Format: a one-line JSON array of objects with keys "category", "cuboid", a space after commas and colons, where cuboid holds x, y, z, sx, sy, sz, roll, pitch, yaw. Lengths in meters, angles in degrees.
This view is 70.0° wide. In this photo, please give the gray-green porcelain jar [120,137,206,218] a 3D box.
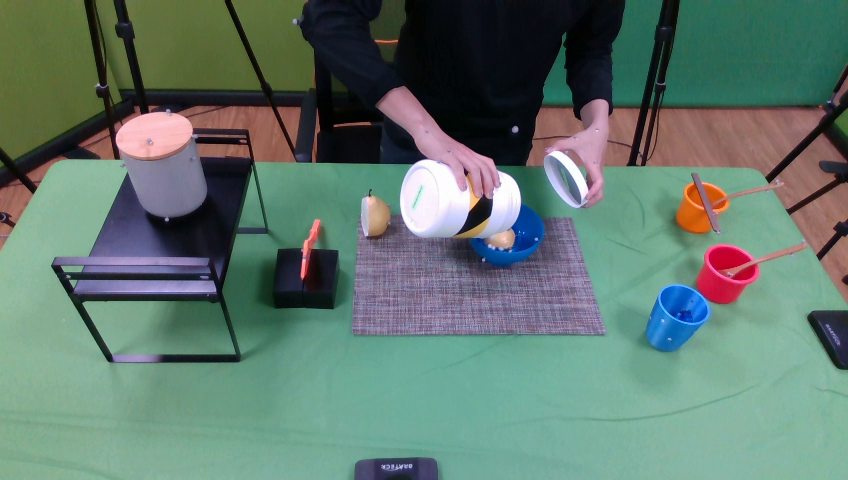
[{"category": "gray-green porcelain jar", "cuboid": [-0.403, -0.106, 0.946, 0.106, 0.127, 0.105, 3, 46, -2]}]

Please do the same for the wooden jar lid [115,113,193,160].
[{"category": "wooden jar lid", "cuboid": [-0.399, -0.151, 0.900, 0.108, 0.021, 0.107, 3, 46, -3]}]

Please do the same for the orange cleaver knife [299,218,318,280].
[{"category": "orange cleaver knife", "cuboid": [-0.214, 0.013, 1.125, 0.012, 0.077, 0.210, 6, 17, -5]}]

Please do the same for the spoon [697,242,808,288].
[{"category": "spoon", "cuboid": [0.601, 0.044, 1.116, 0.194, 0.022, 0.041, -29, 34, 30]}]

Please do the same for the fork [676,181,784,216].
[{"category": "fork", "cuboid": [0.618, -0.083, 1.235, 0.207, 0.019, 0.028, -23, 21, 38]}]

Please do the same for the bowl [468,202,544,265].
[{"category": "bowl", "cuboid": [0.150, -0.004, 1.167, 0.151, 0.077, 0.150, 2, 46, -2]}]

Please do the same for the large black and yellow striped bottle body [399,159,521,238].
[{"category": "large black and yellow striped bottle body", "cuboid": [0.065, -0.069, 1.047, 0.184, 0.131, 0.130, 0, 42, -36]}]

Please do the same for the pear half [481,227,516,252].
[{"category": "pear half", "cuboid": [0.145, -0.013, 1.167, 0.070, 0.031, 0.087, -21, 55, -18]}]

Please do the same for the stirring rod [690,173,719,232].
[{"category": "stirring rod", "cuboid": [0.566, -0.080, 1.225, 0.014, 0.006, 0.175, 2, 46, 2]}]

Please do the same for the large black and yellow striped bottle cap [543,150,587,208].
[{"category": "large black and yellow striped bottle cap", "cuboid": [0.261, -0.113, 1.122, 0.019, 0.115, 0.114, -31, 53, -6]}]

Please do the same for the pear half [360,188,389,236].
[{"category": "pear half", "cuboid": [-0.096, -0.060, 1.181, 0.056, 0.110, 0.076, -14, 52, -17]}]

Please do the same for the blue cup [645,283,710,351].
[{"category": "blue cup", "cuboid": [0.426, 0.139, 1.041, 0.093, 0.100, 0.092, 4, 46, -3]}]
